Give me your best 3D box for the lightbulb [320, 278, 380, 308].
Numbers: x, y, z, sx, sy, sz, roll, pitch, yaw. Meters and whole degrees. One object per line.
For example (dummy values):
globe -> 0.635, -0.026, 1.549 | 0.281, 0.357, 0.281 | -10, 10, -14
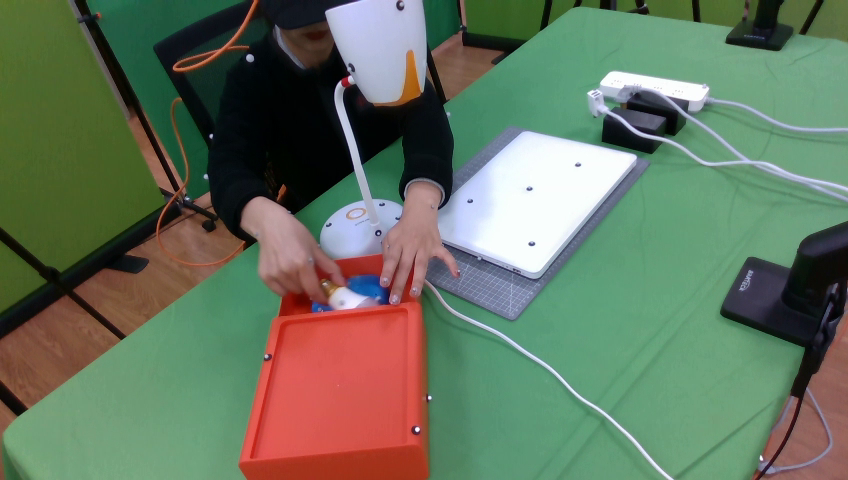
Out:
lightbulb -> -0.102, 0.091, 0.828 | 0.107, 0.059, 0.060 | 41, 56, 11

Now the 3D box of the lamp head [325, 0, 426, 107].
lamp head -> -0.049, -0.218, 0.708 | 0.112, 0.123, 0.112 | -9, 24, 5

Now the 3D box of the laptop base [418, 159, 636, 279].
laptop base -> 0.185, -0.074, 1.042 | 0.233, 0.023, 0.355 | 19, 48, 35

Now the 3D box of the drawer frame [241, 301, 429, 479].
drawer frame -> -0.096, 0.183, 0.741 | 0.202, 0.083, 0.212 | -7, 40, 3

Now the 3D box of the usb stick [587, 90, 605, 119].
usb stick -> 0.334, -0.258, 1.170 | 0.021, 0.059, 0.027 | -28, 44, -5

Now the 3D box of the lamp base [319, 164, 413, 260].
lamp base -> -0.102, -0.068, 0.962 | 0.161, 0.181, 0.177 | -30, 46, -20

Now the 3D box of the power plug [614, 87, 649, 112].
power plug -> 0.406, -0.275, 1.192 | 0.035, 0.053, 0.072 | -16, 24, -16

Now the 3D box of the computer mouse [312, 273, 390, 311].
computer mouse -> -0.108, 0.086, 0.884 | 0.117, 0.041, 0.062 | -15, 42, 0

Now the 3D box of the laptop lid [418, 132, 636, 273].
laptop lid -> 0.181, -0.084, 1.036 | 0.239, 0.013, 0.358 | 22, 49, 35

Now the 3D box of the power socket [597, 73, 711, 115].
power socket -> 0.469, -0.304, 1.249 | 0.225, 0.033, 0.072 | 20, 49, 30

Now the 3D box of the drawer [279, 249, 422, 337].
drawer -> -0.101, 0.116, 0.829 | 0.194, 0.073, 0.210 | -6, 41, 2
